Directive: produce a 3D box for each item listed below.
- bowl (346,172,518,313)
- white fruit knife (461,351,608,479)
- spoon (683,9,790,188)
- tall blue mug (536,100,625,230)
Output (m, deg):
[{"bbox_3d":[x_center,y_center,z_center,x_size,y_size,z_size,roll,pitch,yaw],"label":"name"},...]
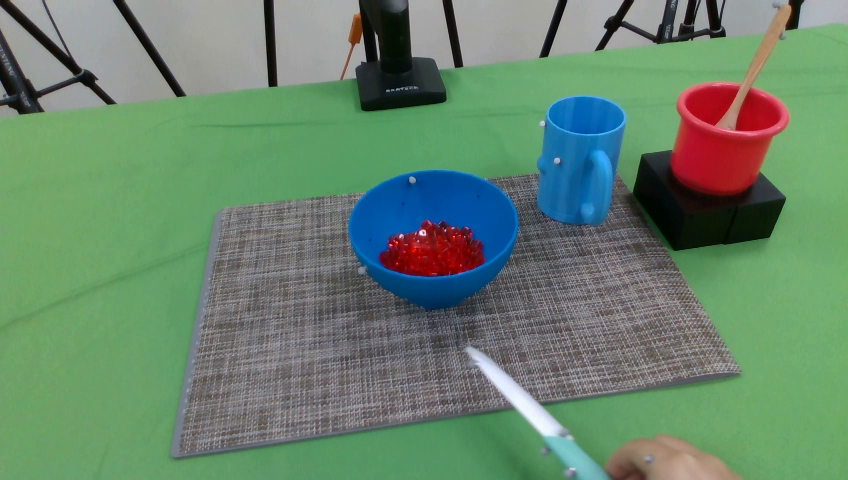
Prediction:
[{"bbox_3d":[0.009,0.013,0.555,0.151,0.077,0.150,-2,42,2],"label":"bowl"},{"bbox_3d":[0.092,0.141,0.412,0.027,0.016,0.205,-5,34,-43],"label":"white fruit knife"},{"bbox_3d":[0.308,-0.137,0.587,0.041,0.022,0.194,28,95,32],"label":"spoon"},{"bbox_3d":[0.167,-0.069,0.614,0.078,0.109,0.106,-26,46,-25],"label":"tall blue mug"}]
